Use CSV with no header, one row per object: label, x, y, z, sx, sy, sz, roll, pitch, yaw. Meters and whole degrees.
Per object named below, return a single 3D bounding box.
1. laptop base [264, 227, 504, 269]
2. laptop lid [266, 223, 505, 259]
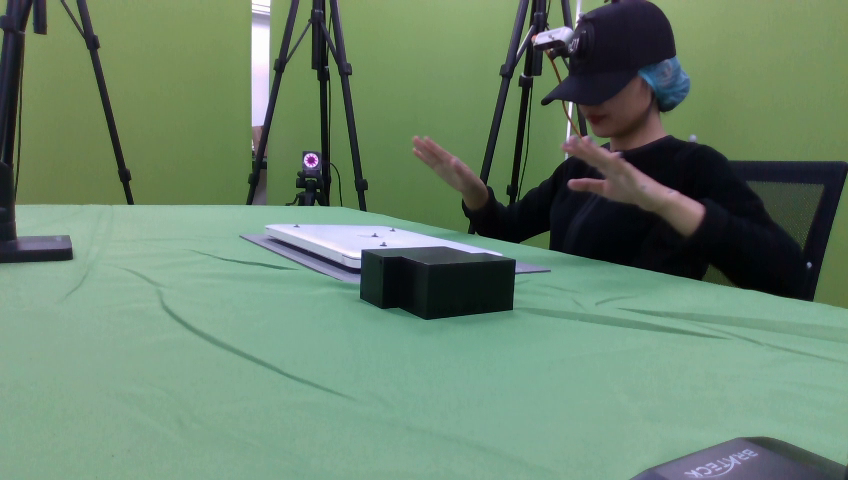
laptop base,-0.077,0.009,0.914,0.237,0.023,0.352,2,6,-33
laptop lid,-0.074,-0.003,0.914,0.243,0.013,0.355,1,7,-31
